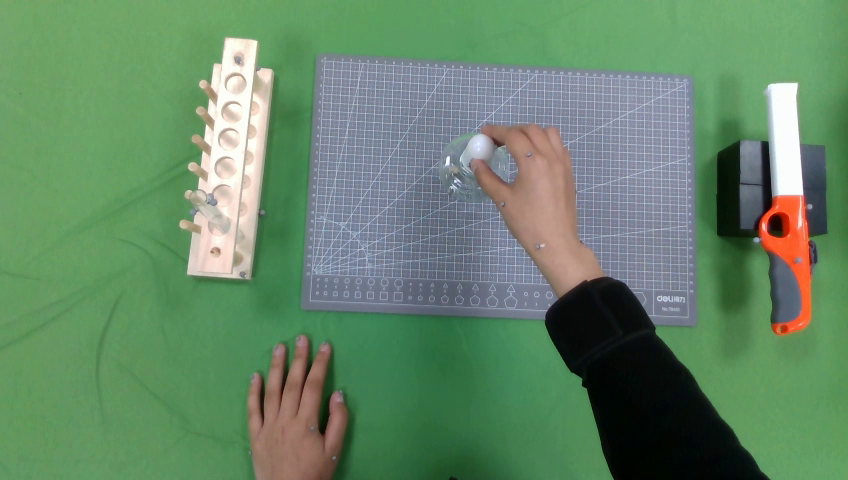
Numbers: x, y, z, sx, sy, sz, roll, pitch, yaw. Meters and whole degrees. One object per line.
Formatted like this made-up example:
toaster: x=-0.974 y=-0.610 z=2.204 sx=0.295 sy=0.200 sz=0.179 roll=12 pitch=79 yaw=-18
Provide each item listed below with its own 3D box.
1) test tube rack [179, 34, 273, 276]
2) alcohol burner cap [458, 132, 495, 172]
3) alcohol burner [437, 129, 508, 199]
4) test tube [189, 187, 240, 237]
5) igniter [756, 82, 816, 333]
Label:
test tube rack: x=-0.216 y=-0.087 z=0.648 sx=0.067 sy=0.085 sz=0.241 roll=5 pitch=83 yaw=-2
alcohol burner cap: x=0.054 y=-0.091 z=0.607 sx=0.034 sy=0.048 sz=0.033 roll=2 pitch=78 yaw=-8
alcohol burner: x=0.053 y=-0.085 z=0.646 sx=0.078 sy=0.119 sz=0.077 roll=0 pitch=84 yaw=-2
test tube: x=-0.202 y=-0.024 z=0.592 sx=0.017 sy=0.150 sz=0.017 roll=1 pitch=78 yaw=-5
igniter: x=0.391 y=-0.037 z=0.658 sx=0.057 sy=0.025 sz=0.275 roll=1 pitch=82 yaw=9
